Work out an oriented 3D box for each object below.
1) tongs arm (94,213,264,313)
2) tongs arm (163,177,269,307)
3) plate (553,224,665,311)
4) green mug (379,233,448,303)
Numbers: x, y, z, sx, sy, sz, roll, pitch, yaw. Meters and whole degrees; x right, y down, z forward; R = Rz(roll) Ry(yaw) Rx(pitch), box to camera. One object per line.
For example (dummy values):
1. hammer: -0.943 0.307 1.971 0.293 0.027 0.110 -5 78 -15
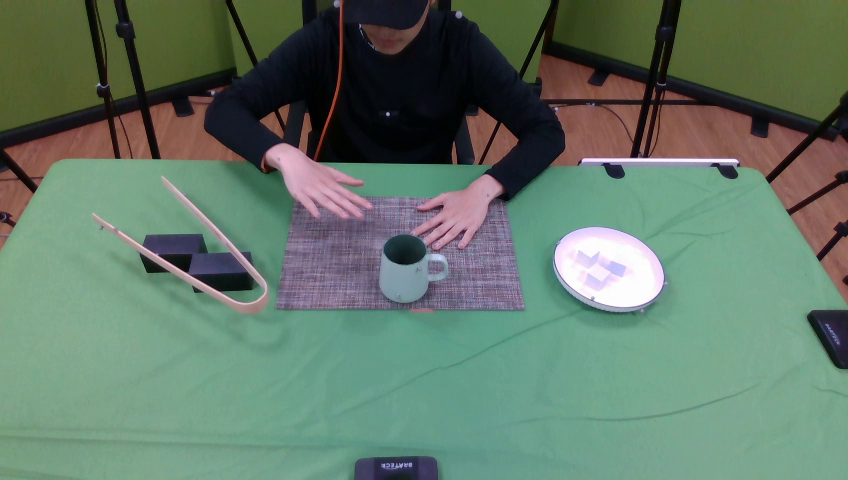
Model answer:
1. tongs arm: -0.437 0.031 1.063 0.383 0.026 0.050 29 48 21
2. tongs arm: -0.387 -0.009 1.108 0.028 0.028 0.385 -27 54 -35
3. plate: 0.349 0.055 1.159 0.209 0.038 0.208 2 47 -2
4. green mug: -0.019 0.050 1.084 0.125 0.105 0.092 0 46 -4
